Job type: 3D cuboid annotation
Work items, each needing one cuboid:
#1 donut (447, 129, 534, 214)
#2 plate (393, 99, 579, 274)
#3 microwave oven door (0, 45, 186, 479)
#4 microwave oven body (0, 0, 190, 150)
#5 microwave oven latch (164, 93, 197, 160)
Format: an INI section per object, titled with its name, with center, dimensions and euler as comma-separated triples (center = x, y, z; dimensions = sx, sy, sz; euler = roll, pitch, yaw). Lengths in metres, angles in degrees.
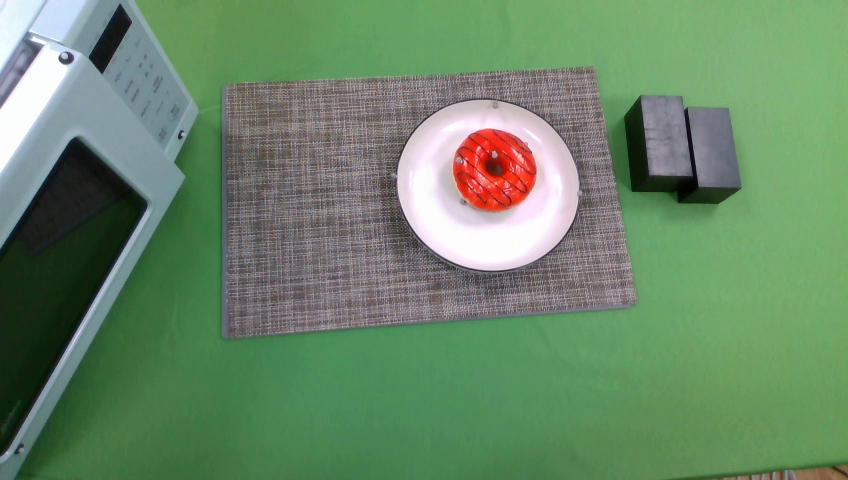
[donut]
center = 0.075, -0.077, 0.682
dimensions = 0.099, 0.048, 0.098
euler = 2, 76, -6
[plate]
center = 0.069, -0.059, 0.688
dimensions = 0.209, 0.038, 0.208
euler = 1, 74, -4
[microwave oven door]
center = -0.338, 0.047, 0.508
dimensions = 0.039, 0.245, 0.354
euler = 22, 74, 3
[microwave oven body]
center = -0.471, -0.043, 0.528
dimensions = 0.326, 0.261, 0.440
euler = 20, 75, 1
[microwave oven latch]
center = -0.278, -0.125, 0.666
dimensions = 0.030, 0.029, 0.079
euler = 20, 75, 1
